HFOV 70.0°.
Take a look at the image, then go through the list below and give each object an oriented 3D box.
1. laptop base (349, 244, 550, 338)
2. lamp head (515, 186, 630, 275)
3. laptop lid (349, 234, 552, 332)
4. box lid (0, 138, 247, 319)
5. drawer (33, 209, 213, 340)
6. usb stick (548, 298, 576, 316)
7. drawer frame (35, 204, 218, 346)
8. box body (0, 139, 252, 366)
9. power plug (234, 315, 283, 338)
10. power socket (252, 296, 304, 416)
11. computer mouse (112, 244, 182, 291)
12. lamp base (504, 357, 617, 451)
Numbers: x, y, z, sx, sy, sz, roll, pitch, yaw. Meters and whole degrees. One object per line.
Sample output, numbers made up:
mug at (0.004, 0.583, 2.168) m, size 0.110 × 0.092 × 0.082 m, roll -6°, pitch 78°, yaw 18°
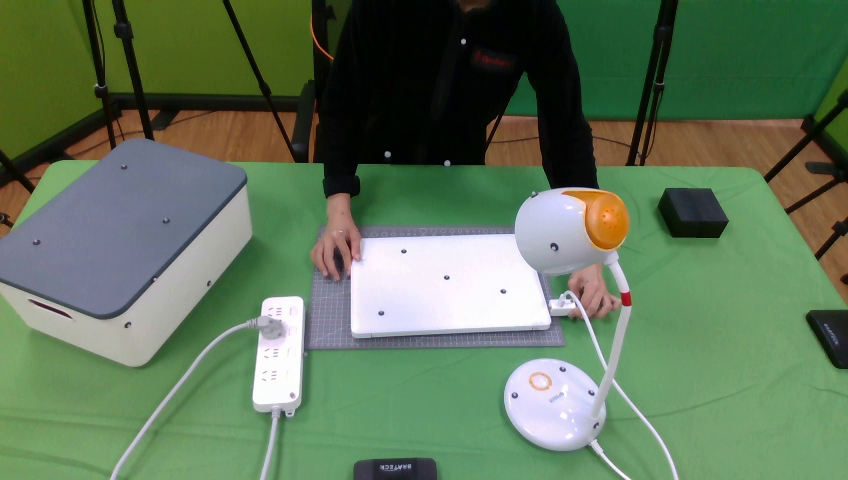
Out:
laptop base at (0.039, 0.082, 1.125) m, size 0.355 × 0.023 × 0.234 m, roll -2°, pitch 43°, yaw -6°
lamp head at (0.188, -0.013, 0.728) m, size 0.112 × 0.112 × 0.122 m, roll -24°, pitch 9°, yaw -25°
laptop lid at (0.040, 0.071, 1.118) m, size 0.357 × 0.013 × 0.240 m, roll 0°, pitch 43°, yaw -5°
box lid at (-0.493, -0.037, 0.994) m, size 0.263 × 0.015 × 0.370 m, roll 17°, pitch 46°, yaw 12°
drawer at (-0.509, 0.054, 1.046) m, size 0.194 × 0.073 × 0.211 m, roll 15°, pitch 43°, yaw 10°
usb stick at (0.240, 0.120, 1.084) m, size 0.059 × 0.027 × 0.021 m, roll -4°, pitch 52°, yaw -1°
drawer frame at (-0.505, 0.054, 1.052) m, size 0.201 × 0.083 × 0.212 m, roll 14°, pitch 52°, yaw 12°
box body at (-0.496, 0.013, 1.048) m, size 0.254 × 0.161 × 0.362 m, roll 17°, pitch 47°, yaw 12°
power plug at (-0.269, 0.143, 1.000) m, size 0.072 × 0.053 × 0.035 m, roll 4°, pitch 47°, yaw 2°
power socket at (-0.237, 0.182, 0.997) m, size 0.072 × 0.033 × 0.225 m, roll -3°, pitch 47°, yaw -5°
computer mouse at (-0.493, 0.046, 1.078) m, size 0.117 × 0.041 × 0.062 m, roll 24°, pitch 41°, yaw 13°
lamp base at (0.220, 0.211, 0.903) m, size 0.160 × 0.181 × 0.178 m, roll -32°, pitch 59°, yaw -30°
